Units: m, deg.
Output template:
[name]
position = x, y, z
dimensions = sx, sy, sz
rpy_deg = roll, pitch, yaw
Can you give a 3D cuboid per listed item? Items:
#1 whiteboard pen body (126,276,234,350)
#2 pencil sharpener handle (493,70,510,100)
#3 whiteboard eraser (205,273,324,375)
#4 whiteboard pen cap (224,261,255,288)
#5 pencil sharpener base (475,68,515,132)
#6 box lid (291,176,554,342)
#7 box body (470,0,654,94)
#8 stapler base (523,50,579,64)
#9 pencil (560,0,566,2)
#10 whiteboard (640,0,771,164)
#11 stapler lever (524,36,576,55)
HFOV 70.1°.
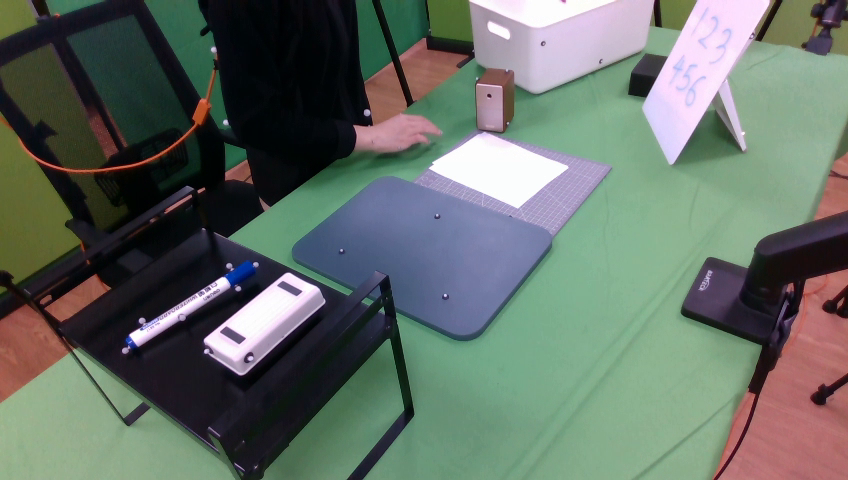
[whiteboard pen body]
position = -0.251, 0.070, 0.649
dimensions = 0.141, 0.017, 0.017
rpy_deg = -36, 48, -26
[pencil sharpener handle]
position = 0.166, -0.324, 1.248
dimensions = 0.036, 0.068, 0.030
rpy_deg = 8, 42, 24
[whiteboard eraser]
position = -0.157, 0.084, 0.605
dimensions = 0.055, 0.042, 0.113
rpy_deg = 24, 49, 30
[whiteboard pen cap]
position = -0.207, 0.039, 0.677
dimensions = 0.033, 0.018, 0.018
rpy_deg = -36, 47, -18
[pencil sharpener base]
position = 0.146, -0.284, 1.222
dimensions = 0.061, 0.107, 0.077
rpy_deg = 11, 43, 22
[box lid]
position = -0.005, 0.011, 0.972
dimensions = 0.368, 0.015, 0.264
rpy_deg = 21, 49, 30
[box body]
position = 0.319, -0.498, 1.405
dimensions = 0.365, 0.161, 0.252
rpy_deg = -26, 43, -21
[stapler base]
position = 0.301, -0.436, 1.434
dimensions = 0.130, 0.024, 0.041
rpy_deg = 5, 40, 17
[pencil]
position = 0.216, -0.544, 1.244
dimensions = 0.193, 0.012, 0.012
rpy_deg = 42, 58, 16
[whiteboard]
position = 0.543, -0.299, 1.076
dimensions = 0.144, 0.305, 0.216
rpy_deg = 12, 40, -7
[stapler lever]
position = 0.296, -0.456, 1.418
dimensions = 0.117, 0.040, 0.027
rpy_deg = 4, 40, 17
